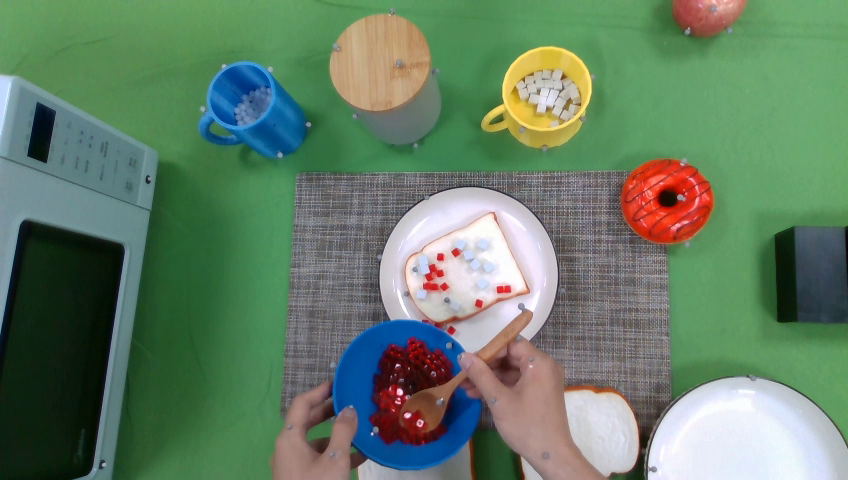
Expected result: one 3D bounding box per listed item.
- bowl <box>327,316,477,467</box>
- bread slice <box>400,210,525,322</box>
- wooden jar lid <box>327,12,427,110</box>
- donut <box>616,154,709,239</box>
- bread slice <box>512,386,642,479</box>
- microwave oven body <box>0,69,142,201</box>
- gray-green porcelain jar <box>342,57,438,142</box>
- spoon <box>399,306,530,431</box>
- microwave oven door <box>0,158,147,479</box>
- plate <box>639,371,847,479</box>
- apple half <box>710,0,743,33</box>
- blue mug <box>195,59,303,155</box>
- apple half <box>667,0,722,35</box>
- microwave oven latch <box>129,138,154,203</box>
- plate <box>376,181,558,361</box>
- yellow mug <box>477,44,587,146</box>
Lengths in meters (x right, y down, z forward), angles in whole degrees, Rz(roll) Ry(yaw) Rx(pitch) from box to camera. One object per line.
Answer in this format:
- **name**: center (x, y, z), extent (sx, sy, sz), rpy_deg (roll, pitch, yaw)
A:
- **bowl**: center (-0.028, 0.162, 0.626), extent (0.152, 0.077, 0.150), rpy_deg (7, 59, -12)
- **bread slice**: center (0.039, 0.037, 0.707), extent (0.131, 0.019, 0.104), rpy_deg (-25, 78, 0)
- **wooden jar lid**: center (-0.049, -0.188, 0.644), extent (0.108, 0.021, 0.108), rpy_deg (-1, 80, 8)
- **donut**: center (0.267, -0.048, 0.682), extent (0.099, 0.048, 0.098), rpy_deg (-1, 82, 8)
- **bread slice**: center (0.165, 0.210, 0.639), extent (0.135, 0.018, 0.106), rpy_deg (-4, 77, -13)
- **microwave oven body**: center (-0.537, 0.062, 0.665), extent (0.325, 0.261, 0.440), rpy_deg (4, 83, 8)
- **gray-green porcelain jar**: center (-0.040, -0.178, 0.705), extent (0.106, 0.127, 0.105), rpy_deg (-1, 81, 8)
- **spoon**: center (0.037, 0.127, 0.587), extent (0.041, 0.022, 0.194), rpy_deg (52, 123, 17)
- **microwave oven door**: center (-0.398, 0.114, 0.634), extent (0.039, 0.245, 0.354), rpy_deg (4, 82, 9)
- **plate**: center (0.332, 0.242, 0.638), extent (0.209, 0.038, 0.208), rpy_deg (-1, 82, 8)
- **apple half**: center (0.333, -0.285, 0.696), extent (0.053, 0.075, 0.080), rpy_deg (-31, 75, -3)
- **blue mug**: center (-0.217, -0.151, 0.735), extent (0.116, 0.106, 0.082), rpy_deg (-25, 79, 4)
- **apple half**: center (0.301, -0.263, 0.696), extent (0.033, 0.081, 0.081), rpy_deg (-32, 78, -3)
- **microwave oven latch**: center (-0.362, -0.088, 0.761), extent (0.030, 0.029, 0.079), rpy_deg (6, 83, 8)
- **plate**: center (0.049, 0.036, 0.703), extent (0.207, 0.039, 0.207), rpy_deg (-1, 82, 8)
- **yellow mug**: center (0.123, -0.162, 0.711), extent (0.131, 0.064, 0.099), rpy_deg (-23, 79, 4)
